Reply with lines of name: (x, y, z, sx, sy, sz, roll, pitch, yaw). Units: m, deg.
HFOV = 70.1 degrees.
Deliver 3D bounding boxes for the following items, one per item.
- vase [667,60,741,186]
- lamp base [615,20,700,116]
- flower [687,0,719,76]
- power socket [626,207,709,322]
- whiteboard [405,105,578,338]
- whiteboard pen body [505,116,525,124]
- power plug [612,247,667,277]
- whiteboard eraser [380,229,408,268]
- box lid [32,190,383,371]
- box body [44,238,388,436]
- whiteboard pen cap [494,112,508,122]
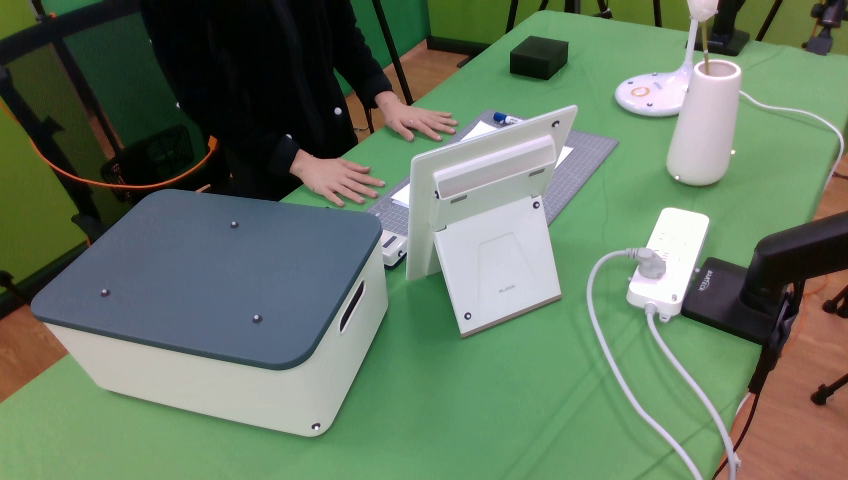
vase: (0.463, -0.189, 0.994, 0.098, 0.201, 0.097, -4, 40, 4)
lamp base: (0.484, -0.364, 1.211, 0.180, 0.181, 0.159, -15, 41, -14)
flower: (0.436, -0.242, 0.934, 0.038, 0.364, 0.043, -24, 49, 9)
power socket: (0.360, 0.026, 0.886, 0.072, 0.033, 0.227, 17, 46, 27)
whiteboard: (0.103, 0.003, 0.786, 0.218, 0.306, 0.143, -19, 62, -14)
whiteboard pen body: (0.203, -0.232, 1.213, 0.139, 0.017, 0.017, 28, 51, 36)
power plug: (0.306, 0.031, 0.852, 0.072, 0.053, 0.035, 21, 48, 37)
whiteboard eraser: (-0.081, 0.007, 0.963, 0.112, 0.042, 0.056, 19, 48, 27)
box lid: (-0.257, 0.032, 0.750, 0.370, 0.015, 0.263, 7, 41, 16)
box body: (-0.251, 0.088, 0.799, 0.362, 0.161, 0.254, 7, 42, 16)
whiteboard pen cap: (0.161, -0.253, 1.248, 0.033, 0.018, 0.018, 27, 51, 36)
